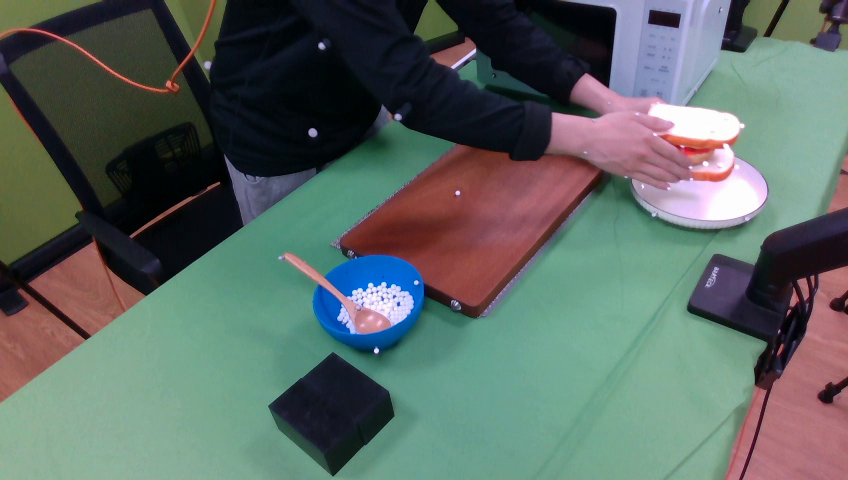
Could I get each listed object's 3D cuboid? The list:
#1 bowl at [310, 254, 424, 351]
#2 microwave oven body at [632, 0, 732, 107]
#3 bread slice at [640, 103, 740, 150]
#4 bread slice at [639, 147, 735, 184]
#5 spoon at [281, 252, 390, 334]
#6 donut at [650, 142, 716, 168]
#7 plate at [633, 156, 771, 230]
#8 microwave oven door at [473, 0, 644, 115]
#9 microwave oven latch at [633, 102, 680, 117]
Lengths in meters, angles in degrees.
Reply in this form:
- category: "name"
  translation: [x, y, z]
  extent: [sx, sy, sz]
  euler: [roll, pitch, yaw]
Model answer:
- category: "bowl"
  translation: [-0.072, 0.098, 0.821]
  extent: [0.151, 0.077, 0.150]
  euler: [-4, 40, 4]
- category: "microwave oven body"
  translation: [0.377, -0.462, 1.267]
  extent: [0.438, 0.261, 0.327]
  euler: [21, 49, 30]
- category: "bread slice"
  translation: [0.401, -0.170, 0.910]
  extent: [0.133, 0.018, 0.107]
  euler: [12, 42, 20]
- category: "bread slice"
  translation: [0.415, -0.127, 0.947]
  extent: [0.131, 0.019, 0.105]
  euler: [10, 44, 25]
- category: "spoon"
  translation: [-0.122, 0.070, 0.812]
  extent: [0.193, 0.022, 0.042]
  euler: [38, 62, 16]
- category: "donut"
  translation: [0.400, -0.148, 0.931]
  extent: [0.099, 0.048, 0.098]
  euler: [-11, 39, 10]
- category: "plate"
  translation: [0.448, -0.081, 0.988]
  extent: [0.207, 0.039, 0.206]
  euler: [-4, 40, 4]
- category: "microwave oven door"
  translation: [0.257, -0.396, 1.199]
  extent: [0.353, 0.245, 0.039]
  euler: [21, 48, 29]
- category: "microwave oven latch"
  translation: [0.444, -0.249, 1.157]
  extent: [0.078, 0.029, 0.030]
  euler: [21, 49, 30]
